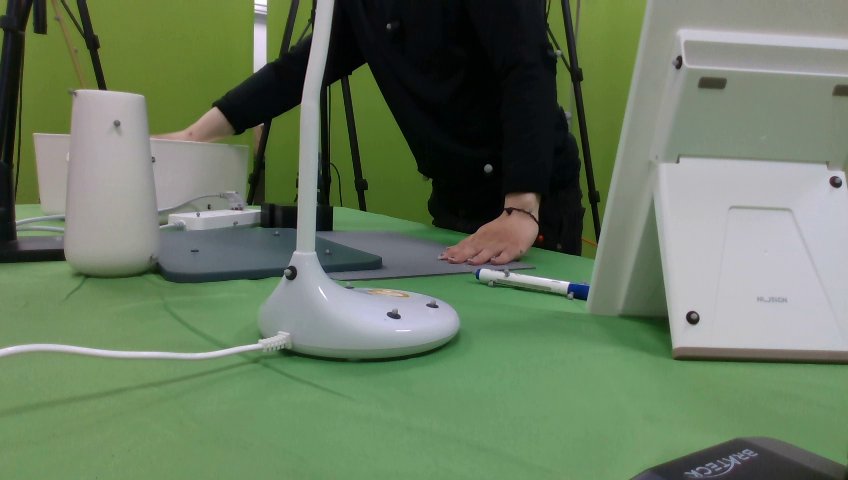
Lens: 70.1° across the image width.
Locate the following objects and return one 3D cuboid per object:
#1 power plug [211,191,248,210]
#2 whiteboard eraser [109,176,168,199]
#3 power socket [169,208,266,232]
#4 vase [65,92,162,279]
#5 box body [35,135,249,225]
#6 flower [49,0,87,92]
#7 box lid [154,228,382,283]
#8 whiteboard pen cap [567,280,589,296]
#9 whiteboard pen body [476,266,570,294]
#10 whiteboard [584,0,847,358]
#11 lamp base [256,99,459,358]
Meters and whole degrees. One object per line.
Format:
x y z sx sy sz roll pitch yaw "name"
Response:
-0.384 -0.072 1.206 0.072 0.052 0.035 1 8 28 "power plug"
-0.552 -0.103 1.174 0.055 0.042 0.113 2 8 9 "whiteboard eraser"
-0.379 -0.038 1.130 0.072 0.032 0.227 4 8 18 "power socket"
-0.347 -0.060 0.673 0.098 0.200 0.098 1 7 0 "vase"
-0.561 -0.127 1.258 0.254 0.160 0.365 4 8 13 "box body"
-0.361 -0.141 0.659 0.038 0.361 0.044 -13 11 11 "flower"
-0.250 0.014 0.853 0.265 0.015 0.369 -3 9 -32 "box lid"
0.171 0.052 0.648 0.033 0.018 0.018 10 10 30 "whiteboard pen cap"
0.123 0.046 0.679 0.140 0.017 0.017 8 9 30 "whiteboard pen body"
0.269 -0.034 0.466 0.217 0.305 0.143 2 27 -1 "whiteboard"
-0.055 -0.013 0.463 0.160 0.180 0.180 6 11 27 "lamp base"
